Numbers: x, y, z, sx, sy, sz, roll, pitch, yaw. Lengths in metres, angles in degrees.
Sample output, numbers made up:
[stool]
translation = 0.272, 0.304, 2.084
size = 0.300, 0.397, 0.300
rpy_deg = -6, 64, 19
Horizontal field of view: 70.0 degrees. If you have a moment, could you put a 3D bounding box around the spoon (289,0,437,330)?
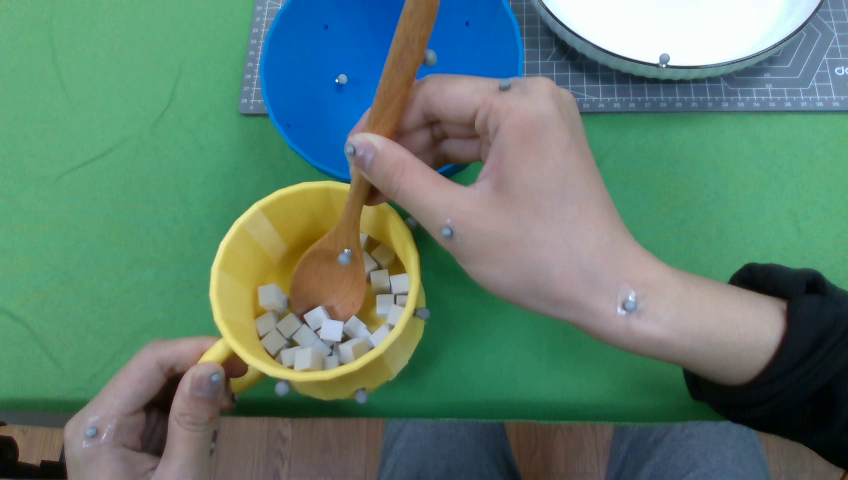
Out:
[spoon]
translation = -0.028, -0.023, 0.276
size = 0.041, 0.195, 0.021
rpy_deg = 25, 43, 0

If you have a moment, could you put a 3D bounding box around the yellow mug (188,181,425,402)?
[yellow mug]
translation = -0.063, 0.037, 0.310
size = 0.131, 0.064, 0.099
rpy_deg = -39, 72, -12

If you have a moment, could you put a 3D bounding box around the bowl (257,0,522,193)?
[bowl]
translation = -0.017, -0.091, 0.377
size = 0.151, 0.077, 0.150
rpy_deg = -1, 75, 4

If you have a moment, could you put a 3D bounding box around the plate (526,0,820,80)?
[plate]
translation = 0.165, -0.196, 0.420
size = 0.209, 0.038, 0.207
rpy_deg = -1, 71, 4
